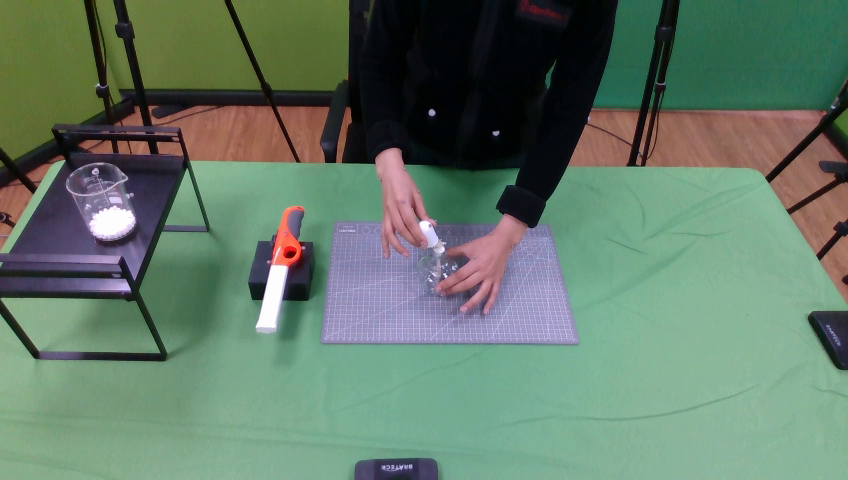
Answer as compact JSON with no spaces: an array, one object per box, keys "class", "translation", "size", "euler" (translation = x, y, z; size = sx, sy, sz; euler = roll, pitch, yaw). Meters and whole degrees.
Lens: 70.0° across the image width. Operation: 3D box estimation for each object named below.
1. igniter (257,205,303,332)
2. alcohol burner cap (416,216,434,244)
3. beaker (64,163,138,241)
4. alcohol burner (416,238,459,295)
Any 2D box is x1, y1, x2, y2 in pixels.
[{"class":"igniter","translation":[-0.252,0.040,1.070],"size":[0.057,0.025,0.275],"euler":[3,49,-2]},{"class":"alcohol burner cap","translation":[0.001,-0.020,1.027],"size":[0.034,0.048,0.033],"euler":[0,47,0]},{"class":"beaker","translation":[-0.477,-0.055,0.910],"size":[0.084,0.101,0.073],"euler":[-9,48,-13]},{"class":"alcohol burner","translation":[0.025,0.042,1.088],"size":[0.078,0.120,0.077],"euler":[1,46,-1]}]
